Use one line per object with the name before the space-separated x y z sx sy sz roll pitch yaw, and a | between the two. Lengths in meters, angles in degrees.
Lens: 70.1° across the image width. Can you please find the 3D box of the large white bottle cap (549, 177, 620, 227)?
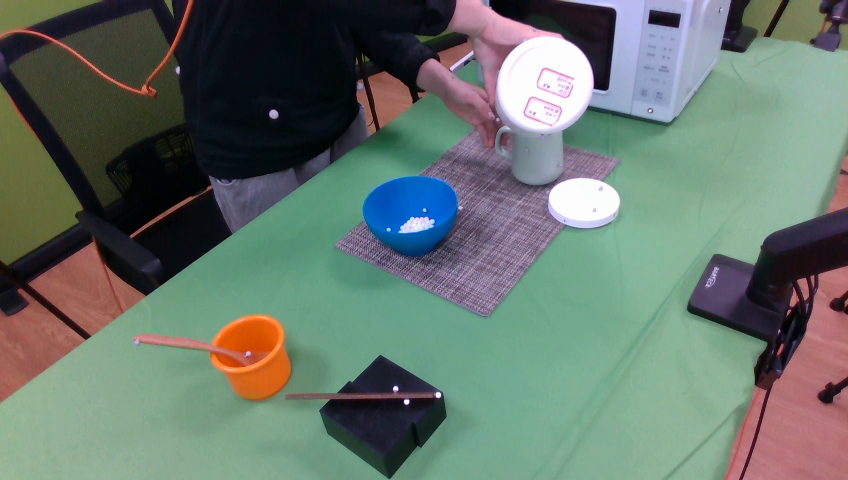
large white bottle cap | 0.265 -0.064 1.000 0.115 0.018 0.114 -1 43 2

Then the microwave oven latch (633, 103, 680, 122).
microwave oven latch | 0.443 -0.249 1.157 0.078 0.029 0.030 21 48 30

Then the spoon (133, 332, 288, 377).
spoon | -0.257 0.137 0.747 0.021 0.195 0.041 -46 40 23

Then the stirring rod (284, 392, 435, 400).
stirring rod | -0.075 0.180 0.698 0.176 0.006 0.014 -2 6 7

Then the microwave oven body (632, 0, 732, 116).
microwave oven body | 0.377 -0.462 1.267 0.438 0.261 0.327 21 48 30

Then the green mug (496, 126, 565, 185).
green mug | 0.185 -0.162 1.061 0.124 0.105 0.092 16 46 25

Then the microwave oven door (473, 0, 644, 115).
microwave oven door | 0.257 -0.396 1.199 0.353 0.245 0.039 21 48 29

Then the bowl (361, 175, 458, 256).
bowl | -0.019 -0.028 0.955 0.151 0.077 0.150 -4 40 4

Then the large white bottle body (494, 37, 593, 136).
large white bottle body | 0.172 -0.222 0.909 0.130 0.130 0.184 -3 8 5
